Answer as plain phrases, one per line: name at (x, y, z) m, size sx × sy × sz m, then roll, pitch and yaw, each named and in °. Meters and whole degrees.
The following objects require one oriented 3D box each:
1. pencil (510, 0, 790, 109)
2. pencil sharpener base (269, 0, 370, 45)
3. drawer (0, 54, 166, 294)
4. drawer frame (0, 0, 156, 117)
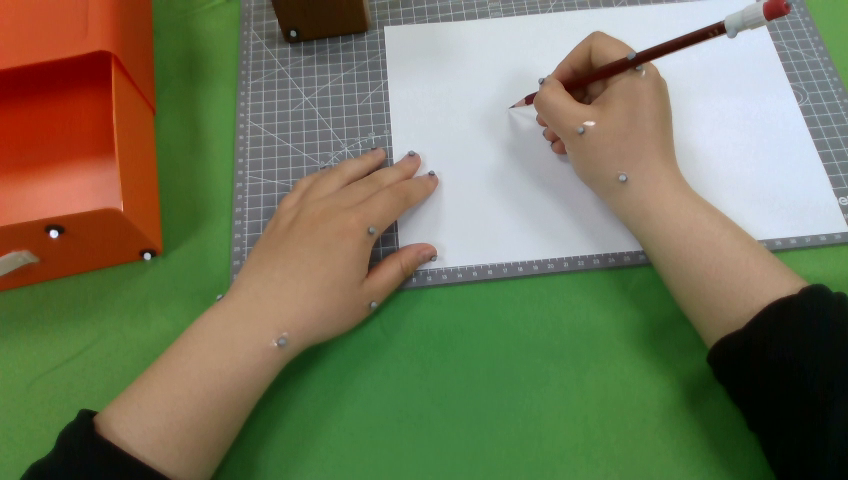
pencil at (0.117, -0.104, 0.364) m, size 0.012 × 0.193 × 0.012 m, roll 3°, pitch 84°, yaw -34°
pencil sharpener base at (-0.086, -0.204, 0.443) m, size 0.077 × 0.108 × 0.061 m, roll -11°, pitch 66°, yaw -2°
drawer at (-0.289, -0.069, 0.408) m, size 0.194 × 0.074 × 0.210 m, roll -13°, pitch 66°, yaw -3°
drawer frame at (-0.316, -0.173, 0.454) m, size 0.202 × 0.083 × 0.211 m, roll -13°, pitch 65°, yaw -3°
